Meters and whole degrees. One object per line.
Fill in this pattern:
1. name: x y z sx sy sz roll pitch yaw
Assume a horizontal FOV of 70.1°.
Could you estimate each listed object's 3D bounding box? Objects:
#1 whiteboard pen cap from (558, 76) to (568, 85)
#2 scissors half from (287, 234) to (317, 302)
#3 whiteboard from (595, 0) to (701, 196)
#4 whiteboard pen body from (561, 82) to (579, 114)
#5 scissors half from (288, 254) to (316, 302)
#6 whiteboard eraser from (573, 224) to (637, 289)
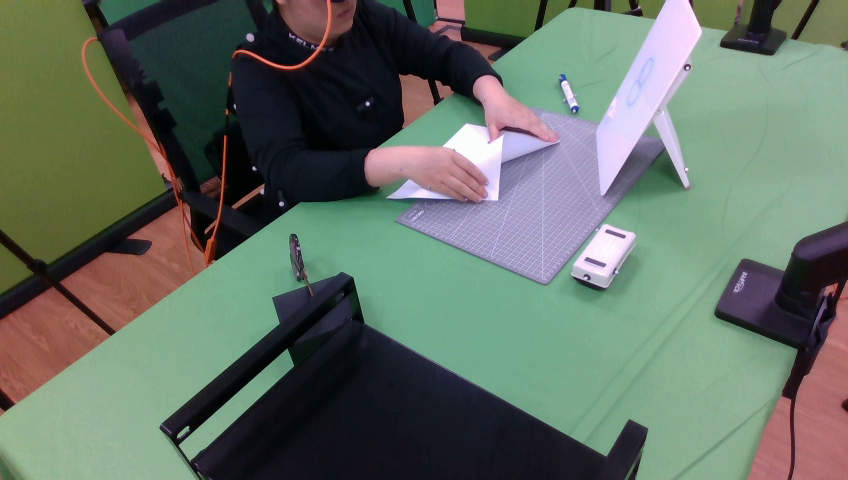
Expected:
1. whiteboard pen cap: 0.309 -0.350 1.340 0.018 0.018 0.033 -6 41 2
2. scissors half: -0.178 0.040 0.885 0.013 0.040 0.173 -11 37 -21
3. whiteboard: 0.421 -0.227 1.010 0.144 0.305 0.216 18 42 -2
4. whiteboard pen body: 0.310 -0.311 1.298 0.017 0.017 0.140 -6 41 2
5. scissors half: -0.178 0.058 0.894 0.013 0.040 0.174 -15 20 -18
6. whiteboard eraser: 0.267 0.025 0.891 0.055 0.042 0.113 19 47 31
